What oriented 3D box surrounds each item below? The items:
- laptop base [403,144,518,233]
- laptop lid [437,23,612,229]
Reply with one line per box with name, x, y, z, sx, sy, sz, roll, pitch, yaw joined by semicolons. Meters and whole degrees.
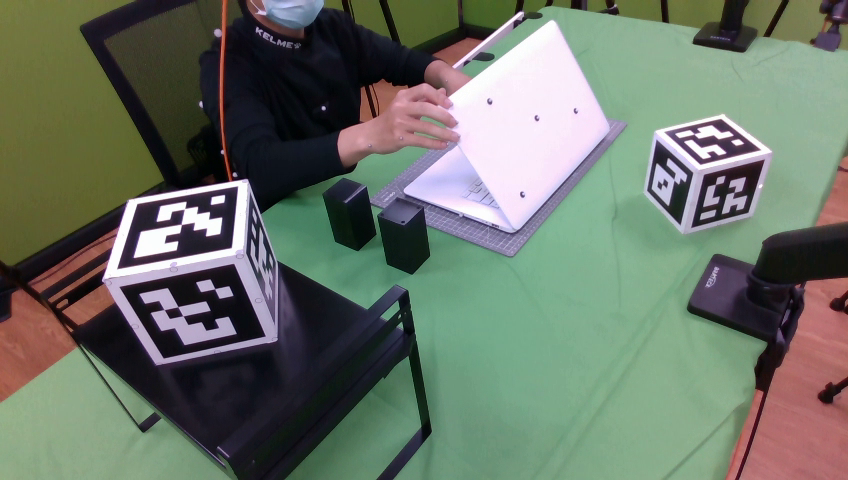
laptop base;0.156;-0.144;1.116;0.233;0.023;0.355;20;47;32
laptop lid;0.187;-0.205;1.023;0.358;0.242;0.013;-42;14;-34
